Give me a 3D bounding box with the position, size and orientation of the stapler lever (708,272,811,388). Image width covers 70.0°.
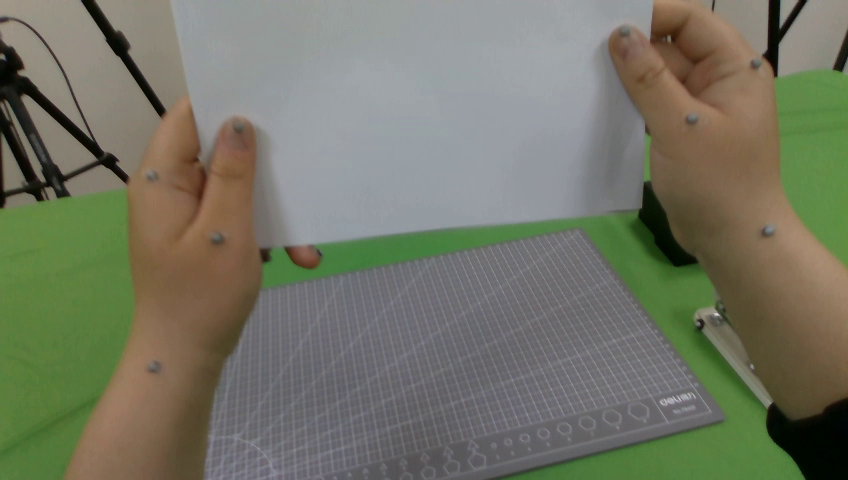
[{"bbox_3d":[0.298,0.075,0.542,0.027,0.040,0.116,-13,40,-7],"label":"stapler lever"}]

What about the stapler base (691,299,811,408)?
[{"bbox_3d":[0.298,0.095,0.559,0.041,0.024,0.129,-13,39,-7],"label":"stapler base"}]
